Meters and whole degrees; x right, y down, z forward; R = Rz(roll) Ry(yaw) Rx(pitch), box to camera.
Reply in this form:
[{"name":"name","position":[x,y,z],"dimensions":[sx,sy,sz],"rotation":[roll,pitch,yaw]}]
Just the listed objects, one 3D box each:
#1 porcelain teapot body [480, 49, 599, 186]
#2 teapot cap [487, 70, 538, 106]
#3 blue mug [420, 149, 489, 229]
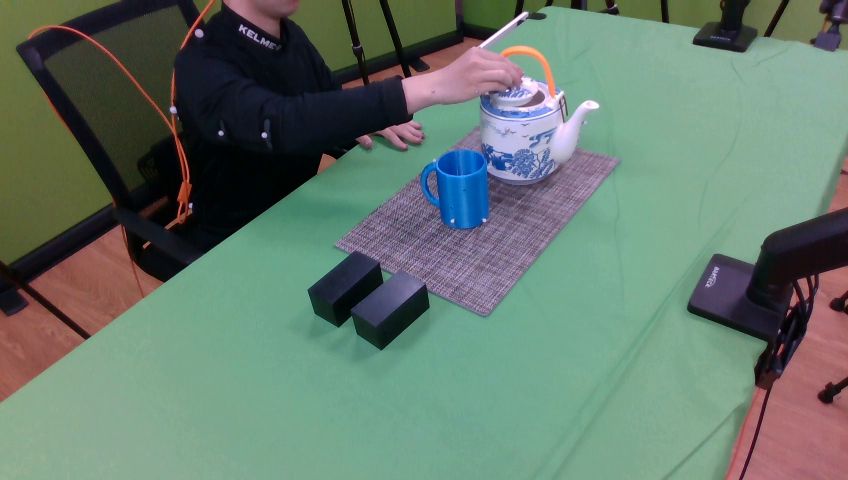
[{"name":"porcelain teapot body","position":[0.192,-0.208,1.023],"dimensions":[0.204,0.226,0.145],"rotation":[17,46,25]},{"name":"teapot cap","position":[0.146,-0.253,0.992],"dimensions":[0.085,0.044,0.084],"rotation":[-3,45,4]},{"name":"blue mug","position":[0.048,-0.085,0.991],"dimensions":[0.116,0.106,0.082],"rotation":[9,43,19]}]
